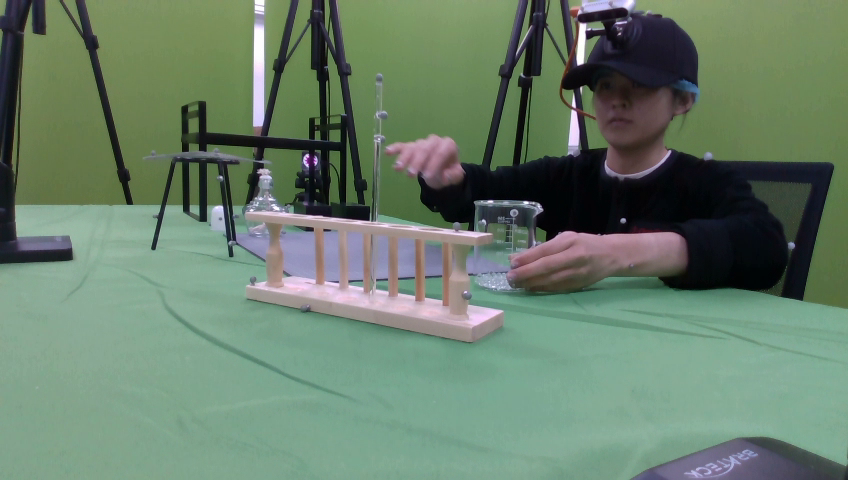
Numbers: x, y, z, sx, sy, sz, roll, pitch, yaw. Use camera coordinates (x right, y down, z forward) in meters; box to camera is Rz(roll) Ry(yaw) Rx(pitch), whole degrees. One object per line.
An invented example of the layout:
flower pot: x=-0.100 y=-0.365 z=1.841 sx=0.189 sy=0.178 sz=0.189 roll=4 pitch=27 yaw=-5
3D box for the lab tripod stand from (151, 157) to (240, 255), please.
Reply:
lab tripod stand: x=-0.310 y=-0.052 z=0.866 sx=0.148 sy=0.131 sz=0.148 roll=2 pitch=6 yaw=0

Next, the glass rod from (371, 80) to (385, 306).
glass rod: x=-0.040 y=-0.039 z=0.530 sx=0.008 sy=0.199 sz=0.008 roll=2 pitch=2 yaw=0

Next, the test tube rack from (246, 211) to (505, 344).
test tube rack: x=-0.049 y=0.025 z=0.547 sx=0.241 sy=0.085 sz=0.067 roll=7 pitch=8 yaw=29

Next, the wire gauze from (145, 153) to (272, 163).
wire gauze: x=-0.303 y=-0.117 z=0.854 sx=0.121 sy=0.011 sz=0.126 roll=7 pitch=8 yaw=34

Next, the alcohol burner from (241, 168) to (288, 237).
alcohol burner: x=-0.272 y=-0.064 z=1.036 sx=0.078 sy=0.119 sz=0.078 roll=4 pitch=5 yaw=0

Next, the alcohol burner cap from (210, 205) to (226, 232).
alcohol burner cap: x=-0.376 y=-0.040 z=1.107 sx=0.034 sy=0.048 sz=0.034 roll=2 pitch=7 yaw=0

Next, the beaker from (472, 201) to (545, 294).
beaker: x=0.096 y=0.007 z=0.688 sx=0.083 sy=0.100 sz=0.074 roll=6 pitch=8 yaw=32
